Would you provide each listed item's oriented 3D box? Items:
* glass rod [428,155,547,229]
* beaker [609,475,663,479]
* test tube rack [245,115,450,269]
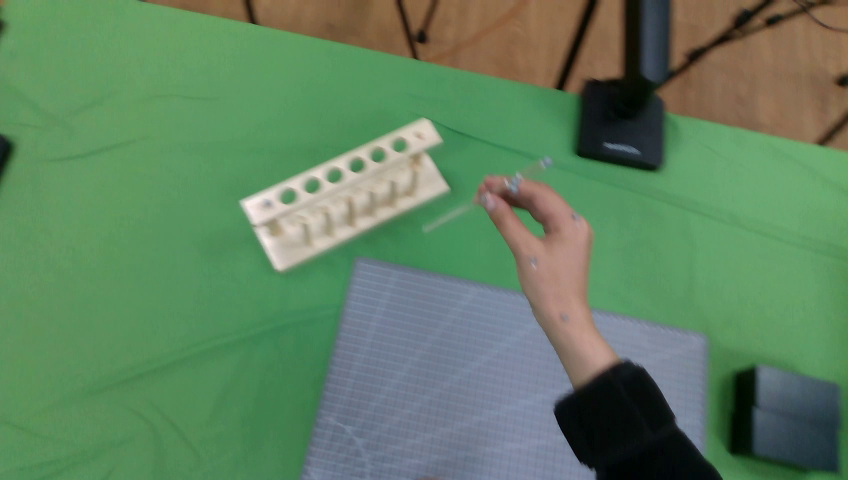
[{"bbox_3d":[0.046,-0.035,0.520,0.008,0.199,0.008,6,74,-23],"label":"glass rod"},{"bbox_3d":[0.217,0.289,0.633,0.074,0.101,0.083,30,71,6],"label":"beaker"},{"bbox_3d":[-0.084,-0.058,0.737,0.242,0.085,0.066,-27,74,-14],"label":"test tube rack"}]
